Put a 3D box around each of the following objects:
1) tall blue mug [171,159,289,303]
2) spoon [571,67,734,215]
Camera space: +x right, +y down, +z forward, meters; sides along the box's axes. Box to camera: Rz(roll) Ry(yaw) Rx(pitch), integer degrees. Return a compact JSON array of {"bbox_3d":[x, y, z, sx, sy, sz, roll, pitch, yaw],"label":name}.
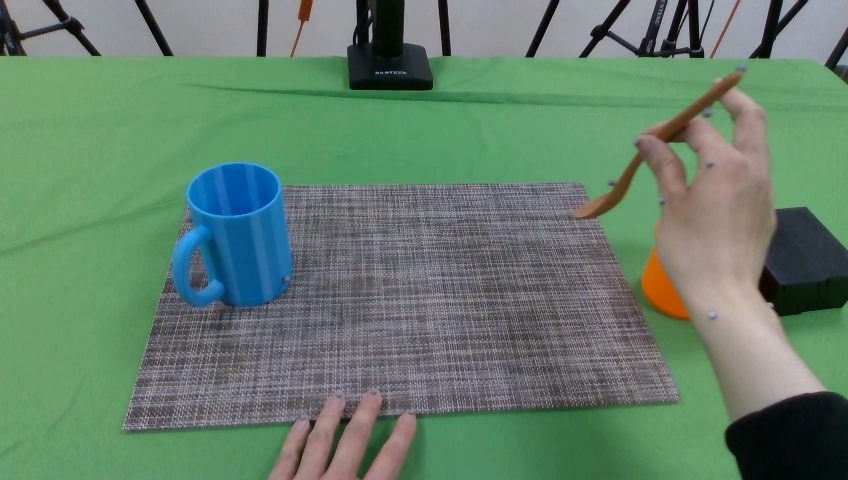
[{"bbox_3d":[-0.166,0.003,0.533,0.078,0.109,0.106,5,43,-1],"label":"tall blue mug"},{"bbox_3d":[0.163,-0.066,0.459,0.041,0.194,0.021,-38,77,-26],"label":"spoon"}]
